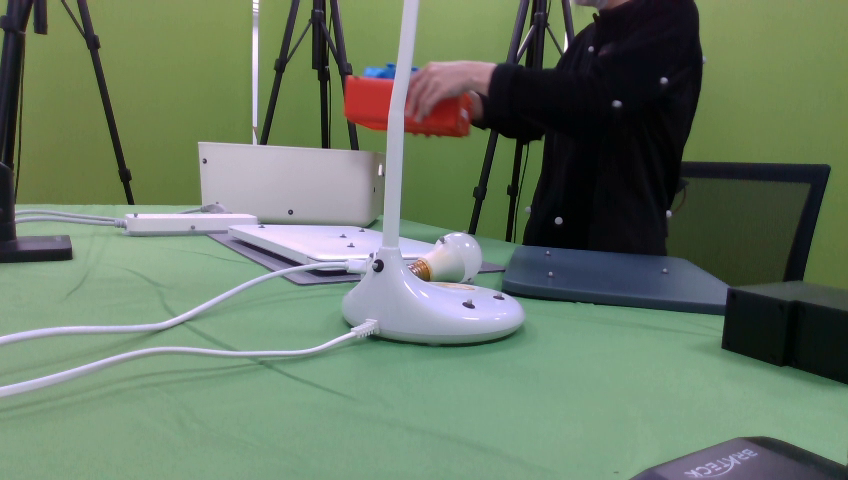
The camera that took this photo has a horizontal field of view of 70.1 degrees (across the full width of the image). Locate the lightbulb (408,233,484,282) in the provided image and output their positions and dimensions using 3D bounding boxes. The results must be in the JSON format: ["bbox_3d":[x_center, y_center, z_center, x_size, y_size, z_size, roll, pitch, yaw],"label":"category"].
[{"bbox_3d":[0.020,0.028,0.694,0.108,0.059,0.059,-20,19,-31],"label":"lightbulb"}]

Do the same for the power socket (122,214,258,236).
[{"bbox_3d":[-0.398,-0.028,1.049,0.228,0.032,0.072,-3,8,-34],"label":"power socket"}]

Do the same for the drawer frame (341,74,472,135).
[{"bbox_3d":[-0.026,-0.260,1.176,0.213,0.082,0.202,7,6,10],"label":"drawer frame"}]

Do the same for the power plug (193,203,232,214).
[{"bbox_3d":[-0.394,-0.042,1.139,0.072,0.052,0.035,-13,2,31],"label":"power plug"}]

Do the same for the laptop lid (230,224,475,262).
[{"bbox_3d":[-0.119,0.000,0.889,0.243,0.013,0.355,1,7,-33],"label":"laptop lid"}]

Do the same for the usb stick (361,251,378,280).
[{"bbox_3d":[-0.051,0.033,0.656,0.027,0.021,0.059,4,-27,-21],"label":"usb stick"}]

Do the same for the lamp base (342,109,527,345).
[{"bbox_3d":[0.006,-0.015,0.505,0.160,0.180,0.180,6,11,29],"label":"lamp base"}]

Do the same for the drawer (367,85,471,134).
[{"bbox_3d":[-0.024,-0.259,1.176,0.211,0.073,0.195,7,7,11],"label":"drawer"}]

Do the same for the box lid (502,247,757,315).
[{"bbox_3d":[0.244,0.044,0.793,0.263,0.015,0.372,4,7,11],"label":"box lid"}]

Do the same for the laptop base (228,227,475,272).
[{"bbox_3d":[-0.122,0.011,0.889,0.237,0.023,0.352,2,6,-35],"label":"laptop base"}]

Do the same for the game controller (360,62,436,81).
[{"bbox_3d":[-0.049,-0.313,1.173,0.156,0.051,0.097,6,2,-13],"label":"game controller"}]

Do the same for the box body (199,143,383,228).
[{"bbox_3d":[-0.276,-0.124,1.334,0.364,0.160,0.254,3,7,1],"label":"box body"}]
